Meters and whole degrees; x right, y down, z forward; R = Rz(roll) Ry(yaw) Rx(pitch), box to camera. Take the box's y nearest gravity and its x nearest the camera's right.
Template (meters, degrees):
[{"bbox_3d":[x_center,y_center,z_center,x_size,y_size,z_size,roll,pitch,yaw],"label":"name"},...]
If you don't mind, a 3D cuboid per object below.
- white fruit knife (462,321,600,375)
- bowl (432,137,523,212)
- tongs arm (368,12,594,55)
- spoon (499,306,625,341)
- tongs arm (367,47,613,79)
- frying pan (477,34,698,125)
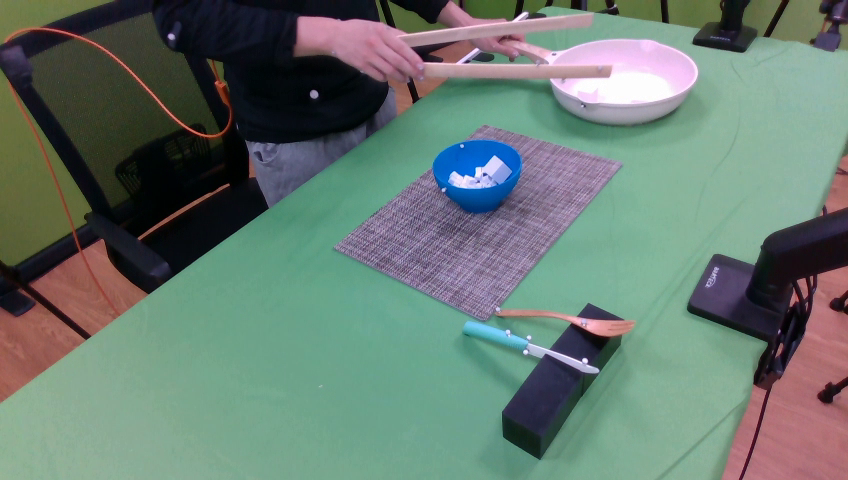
[{"bbox_3d":[0.126,0.132,0.752,0.205,0.027,0.016,12,48,42],"label":"white fruit knife"},{"bbox_3d":[0.091,-0.100,1.022,0.151,0.077,0.150,-4,41,4],"label":"bowl"},{"bbox_3d":[0.097,-0.342,1.002,0.388,0.028,0.028,-9,60,-6],"label":"tongs arm"},{"bbox_3d":[0.169,0.102,0.773,0.042,0.021,0.192,-10,13,-38],"label":"spoon"},{"bbox_3d":[0.101,-0.281,0.958,0.385,0.026,0.050,0,56,1],"label":"tongs arm"},{"bbox_3d":[0.321,-0.371,1.290,0.484,0.103,0.308,29,51,24],"label":"frying pan"}]
